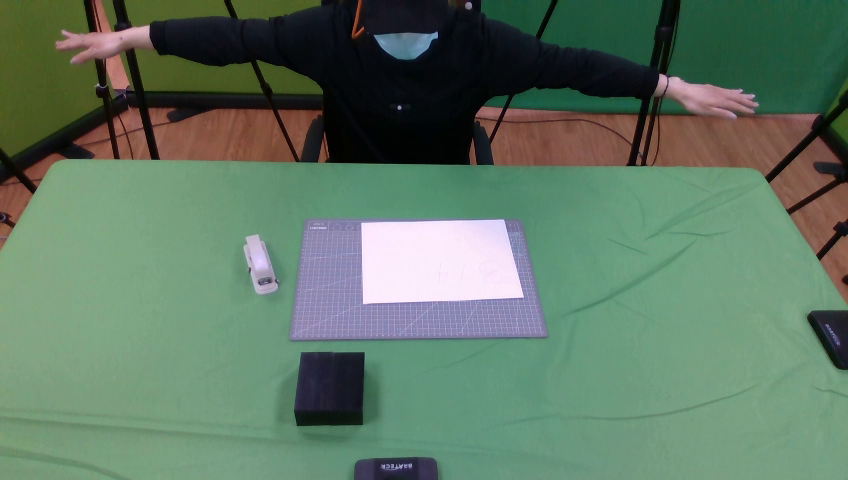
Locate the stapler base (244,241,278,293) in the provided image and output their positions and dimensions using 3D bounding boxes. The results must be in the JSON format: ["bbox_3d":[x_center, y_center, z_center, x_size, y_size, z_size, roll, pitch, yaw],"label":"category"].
[{"bbox_3d":[-0.305,0.044,1.130,0.041,0.024,0.129,-13,47,-19],"label":"stapler base"}]

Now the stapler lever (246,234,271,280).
[{"bbox_3d":[-0.305,0.026,1.113,0.027,0.040,0.117,-13,48,-19],"label":"stapler lever"}]
